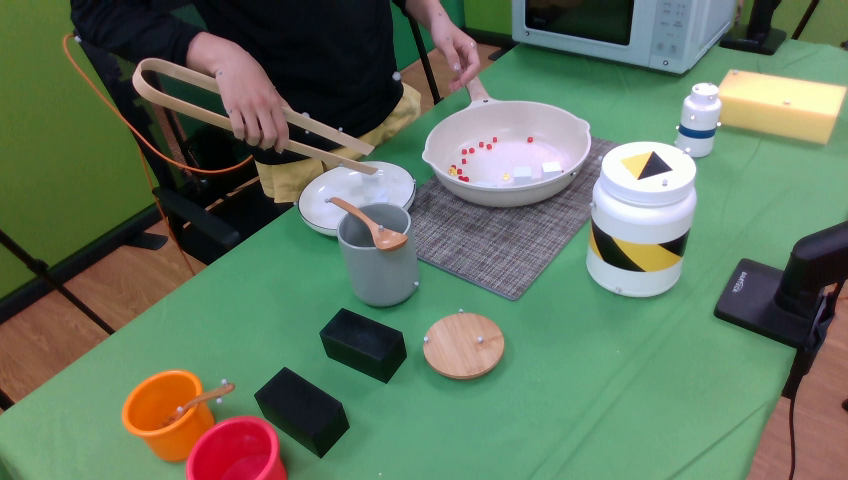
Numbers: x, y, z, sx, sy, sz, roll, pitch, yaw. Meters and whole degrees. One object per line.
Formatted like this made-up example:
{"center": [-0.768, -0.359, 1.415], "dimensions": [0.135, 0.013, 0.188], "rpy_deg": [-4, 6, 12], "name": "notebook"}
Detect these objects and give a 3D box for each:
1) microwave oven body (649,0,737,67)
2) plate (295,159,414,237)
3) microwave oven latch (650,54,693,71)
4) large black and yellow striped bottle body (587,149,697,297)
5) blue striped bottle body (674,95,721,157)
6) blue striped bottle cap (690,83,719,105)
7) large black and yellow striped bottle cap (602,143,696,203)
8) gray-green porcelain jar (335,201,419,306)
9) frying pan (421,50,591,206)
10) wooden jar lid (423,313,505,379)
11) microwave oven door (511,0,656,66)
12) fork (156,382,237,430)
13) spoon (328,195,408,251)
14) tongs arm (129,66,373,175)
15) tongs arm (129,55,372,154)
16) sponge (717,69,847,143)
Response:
{"center": [0.475, -0.602, 1.411], "dimensions": [0.438, 0.261, 0.327], "rpy_deg": [23, 50, 32], "name": "microwave oven body"}
{"center": [-0.118, -0.070, 1.055], "dimensions": [0.207, 0.039, 0.206], "rpy_deg": [-5, 40, 5], "name": "plate"}
{"center": [0.531, -0.386, 1.301], "dimensions": [0.078, 0.029, 0.030], "rpy_deg": [26, 51, 33], "name": "microwave oven latch"}
{"center": [0.298, -0.026, 0.835], "dimensions": [0.131, 0.185, 0.130], "rpy_deg": [-4, 41, 4], "name": "large black and yellow striped bottle body"}
{"center": [0.486, -0.213, 1.071], "dimensions": [0.063, 0.121, 0.063], "rpy_deg": [-4, 41, 4], "name": "blue striped bottle body"}
{"center": [0.481, -0.251, 1.038], "dimensions": [0.044, 0.021, 0.044], "rpy_deg": [-5, 40, 4], "name": "blue striped bottle cap"}
{"center": [0.289, -0.088, 0.779], "dimensions": [0.115, 0.019, 0.114], "rpy_deg": [-5, 39, 4], "name": "large black and yellow striped bottle cap"}
{"center": [-0.064, 0.024, 0.872], "dimensions": [0.106, 0.127, 0.105], "rpy_deg": [-4, 41, 4], "name": "gray-green porcelain jar"}
{"center": [0.127, -0.233, 1.154], "dimensions": [0.307, 0.103, 0.484], "rpy_deg": [-11, 49, -5], "name": "frying pan"}
{"center": [0.053, 0.142, 0.800], "dimensions": [0.108, 0.021, 0.108], "rpy_deg": [-5, 39, 4], "name": "wooden jar lid"}
{"center": [0.350, -0.539, 1.349], "dimensions": [0.353, 0.245, 0.039], "rpy_deg": [24, 50, 31], "name": "microwave oven door"}
{"center": [-0.262, 0.189, 0.690], "dimensions": [0.018, 0.206, 0.028], "rpy_deg": [49, 43, -7], "name": "fork"}
{"center": [-0.083, -0.029, 0.829], "dimensions": [0.042, 0.022, 0.192], "rpy_deg": [-32, 43, -21], "name": "spoon"}
{"center": [-0.243, -0.167, 0.923], "dimensions": [0.027, 0.391, 0.028], "rpy_deg": [-25, 56, 45], "name": "tongs arm"}
{"center": [-0.245, -0.194, 0.936], "dimensions": [0.026, 0.388, 0.050], "rpy_deg": [-29, 51, 43], "name": "tongs arm"}
{"center": [0.663, -0.256, 1.142], "dimensions": [0.205, 0.061, 0.118], "rpy_deg": [19, 47, 28], "name": "sponge"}
